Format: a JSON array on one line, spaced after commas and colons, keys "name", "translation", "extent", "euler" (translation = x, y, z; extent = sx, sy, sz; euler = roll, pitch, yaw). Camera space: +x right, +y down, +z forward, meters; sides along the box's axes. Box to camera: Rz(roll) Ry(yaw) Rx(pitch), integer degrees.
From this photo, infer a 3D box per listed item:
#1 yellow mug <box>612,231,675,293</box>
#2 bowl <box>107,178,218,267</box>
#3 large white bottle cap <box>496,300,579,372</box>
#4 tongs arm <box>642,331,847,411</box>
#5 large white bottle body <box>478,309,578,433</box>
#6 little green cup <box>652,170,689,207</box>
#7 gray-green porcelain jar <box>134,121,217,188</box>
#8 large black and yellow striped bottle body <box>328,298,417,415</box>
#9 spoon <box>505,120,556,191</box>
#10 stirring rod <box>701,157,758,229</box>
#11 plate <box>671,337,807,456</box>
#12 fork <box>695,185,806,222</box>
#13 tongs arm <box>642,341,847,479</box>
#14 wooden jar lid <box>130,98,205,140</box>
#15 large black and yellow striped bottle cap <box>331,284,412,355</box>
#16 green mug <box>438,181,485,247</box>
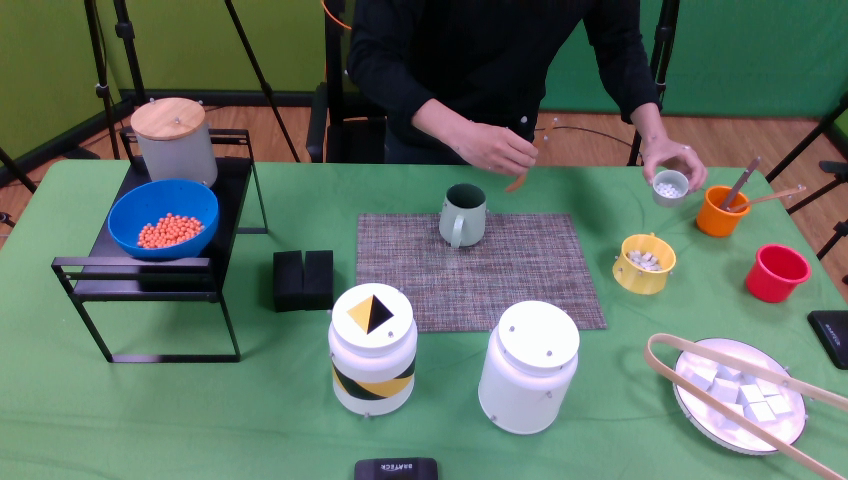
[{"name": "yellow mug", "translation": [0.424, 0.033, 1.168], "extent": [0.100, 0.064, 0.130], "euler": [18, 46, 13]}, {"name": "bowl", "translation": [-0.374, -0.014, 0.893], "extent": [0.151, 0.077, 0.150], "euler": [2, 46, -2]}, {"name": "large white bottle cap", "translation": [0.160, 0.133, 0.852], "extent": [0.115, 0.018, 0.114], "euler": [3, 46, -2]}, {"name": "tongs arm", "translation": [0.546, 0.227, 0.968], "extent": [0.384, 0.026, 0.050], "euler": [22, 52, 13]}, {"name": "large white bottle body", "translation": [0.155, 0.192, 0.913], "extent": [0.131, 0.185, 0.130], "euler": [2, 46, -2]}, {"name": "little green cup", "translation": [0.444, -0.091, 1.098], "extent": [0.061, 0.039, 0.061], "euler": [-4, 59, 7]}, {"name": "gray-green porcelain jar", "translation": [-0.397, -0.141, 0.980], "extent": [0.106, 0.127, 0.105], "euler": [2, 47, -2]}, {"name": "large black and yellow striped bottle body", "translation": [-0.078, 0.167, 0.920], "extent": [0.131, 0.185, 0.130], "euler": [2, 46, -2]}, {"name": "spoon", "translation": [0.177, -0.139, 1.020], "extent": [0.021, 0.194, 0.041], "euler": [44, 60, 14]}, {"name": "stirring rod", "translation": [0.634, -0.097, 1.257], "extent": [0.014, 0.006, 0.176], "euler": [38, 97, 30]}, {"name": "plate", "translation": [0.504, 0.254, 0.984], "extent": [0.208, 0.039, 0.206], "euler": [2, 46, -2]}, {"name": "fork", "translation": [0.657, -0.074, 1.230], "extent": [0.207, 0.019, 0.028], "euler": [-23, 37, 37]}, {"name": "tongs arm", "translation": [0.504, 0.278, 0.918], "extent": [0.386, 0.028, 0.028], "euler": [34, 59, 22]}, {"name": "wooden jar lid", "translation": [-0.393, -0.183, 0.934], "extent": [0.108, 0.021, 0.107], "euler": [2, 43, -2]}, {"name": "large black and yellow striped bottle cap", "translation": [-0.073, 0.110, 0.857], "extent": [0.115, 0.019, 0.114], "euler": [2, 46, -2]}, {"name": "green mug", "translation": [0.071, -0.039, 1.178], "extent": [0.092, 0.105, 0.124], "euler": [12, 47, 7]}]
